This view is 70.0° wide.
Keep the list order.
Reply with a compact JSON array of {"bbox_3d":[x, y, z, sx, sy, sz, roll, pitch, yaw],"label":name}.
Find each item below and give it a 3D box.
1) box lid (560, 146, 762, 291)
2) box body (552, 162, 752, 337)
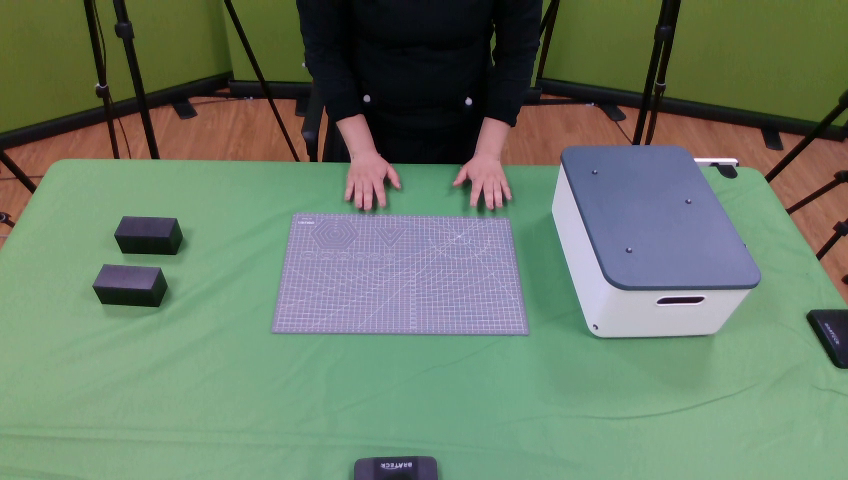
[{"bbox_3d":[0.404,-0.052,1.076,0.263,0.015,0.369,-1,45,-5],"label":"box lid"},{"bbox_3d":[0.401,-0.001,1.131,0.254,0.161,0.361,-1,46,-5],"label":"box body"}]
